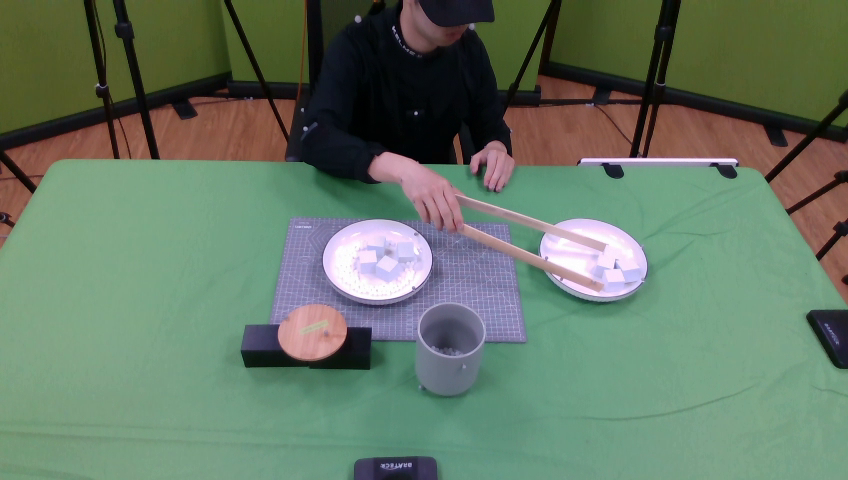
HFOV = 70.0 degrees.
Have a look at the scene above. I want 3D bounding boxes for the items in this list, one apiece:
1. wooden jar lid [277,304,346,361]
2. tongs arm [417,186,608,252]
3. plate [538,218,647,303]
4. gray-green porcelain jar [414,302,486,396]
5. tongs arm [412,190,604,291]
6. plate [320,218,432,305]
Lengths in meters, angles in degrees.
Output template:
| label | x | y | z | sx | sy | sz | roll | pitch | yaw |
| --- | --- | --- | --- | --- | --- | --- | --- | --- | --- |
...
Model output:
| label | x | y | z | sx | sy | sz | roll | pitch | yaw |
| --- | --- | --- | --- | --- | --- | --- | --- | --- | --- |
| wooden jar lid | -0.179 | 0.150 | 0.972 | 0.108 | 0.021 | 0.107 | 2 | 45 | -2 |
| tongs arm | 0.171 | -0.039 | 1.175 | 0.388 | 0.028 | 0.028 | 17 | 51 | -3 |
| plate | 0.322 | 0.042 | 1.171 | 0.208 | 0.039 | 0.206 | 2 | 46 | -2 |
| gray-green porcelain jar | 0.038 | 0.177 | 0.958 | 0.106 | 0.127 | 0.105 | 2 | 46 | -2 |
| tongs arm | 0.154 | 0.001 | 1.133 | 0.385 | 0.026 | 0.050 | 22 | 47 | 2 |
| plate | -0.089 | 0.044 | 1.134 | 0.209 | 0.038 | 0.208 | 3 | 46 | -2 |
